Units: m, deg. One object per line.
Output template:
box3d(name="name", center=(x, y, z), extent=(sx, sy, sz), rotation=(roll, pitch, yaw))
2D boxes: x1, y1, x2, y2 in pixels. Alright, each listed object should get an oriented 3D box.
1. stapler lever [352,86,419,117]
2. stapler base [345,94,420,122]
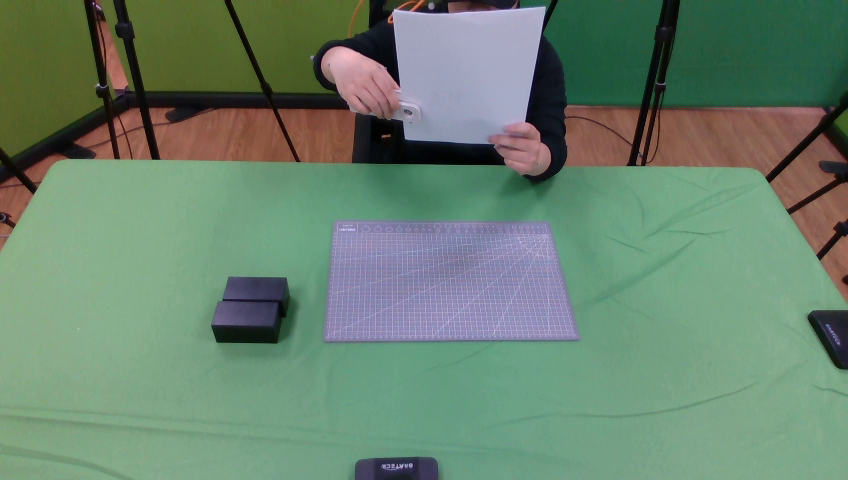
box3d(name="stapler lever", center=(-0.064, -0.241, 1.032), extent=(0.118, 0.027, 0.040), rotation=(22, 68, 16))
box3d(name="stapler base", center=(-0.067, -0.229, 1.028), extent=(0.130, 0.041, 0.024), rotation=(11, 65, 11))
